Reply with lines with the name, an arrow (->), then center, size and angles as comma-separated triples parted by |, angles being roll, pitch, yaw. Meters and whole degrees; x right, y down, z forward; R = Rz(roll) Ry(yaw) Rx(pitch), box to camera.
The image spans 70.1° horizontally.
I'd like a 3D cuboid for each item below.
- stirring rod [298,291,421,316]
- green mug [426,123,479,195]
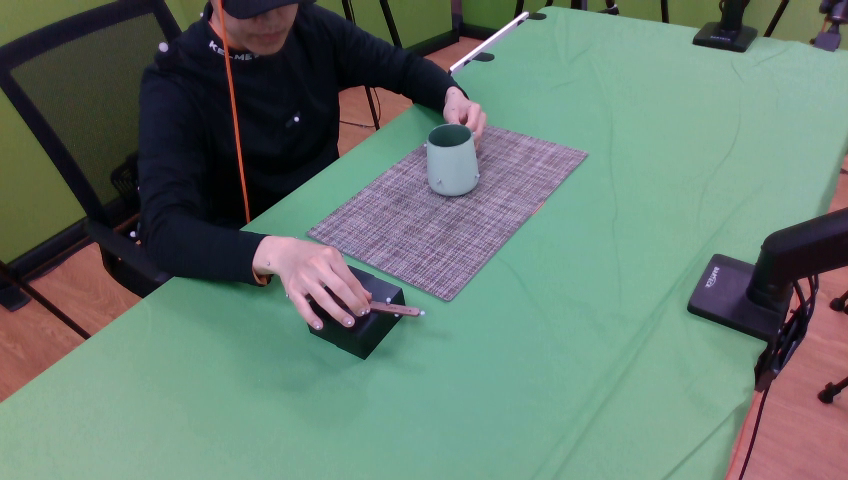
stirring rod -> -0.089, 0.085, 0.817 | 0.175, 0.006, 0.014 | 6, 44, 14
green mug -> 0.053, -0.151, 1.067 | 0.092, 0.105, 0.125 | 5, 42, 14
